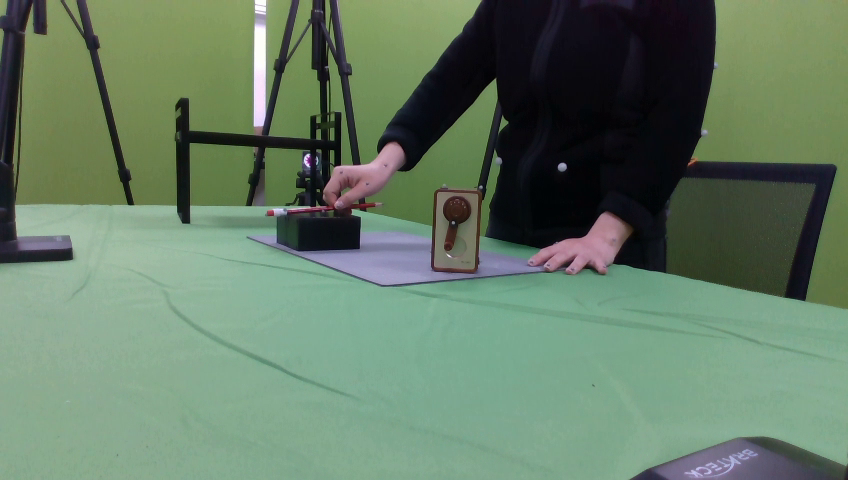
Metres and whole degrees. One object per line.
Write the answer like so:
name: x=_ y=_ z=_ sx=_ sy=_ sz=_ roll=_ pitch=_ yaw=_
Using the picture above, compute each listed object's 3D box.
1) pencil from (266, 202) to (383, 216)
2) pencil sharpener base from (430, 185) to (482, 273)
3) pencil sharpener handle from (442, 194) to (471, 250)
pencil: x=-0.151 y=-0.051 z=0.945 sx=0.195 sy=0.012 sz=0.012 roll=-7 pitch=11 yaw=-29
pencil sharpener base: x=0.042 y=-0.015 z=0.783 sx=0.061 sy=0.107 sz=0.077 roll=3 pitch=8 yaw=4
pencil sharpener handle: x=0.036 y=-0.021 z=0.731 sx=0.036 sy=0.067 sz=0.030 roll=10 pitch=8 yaw=3
